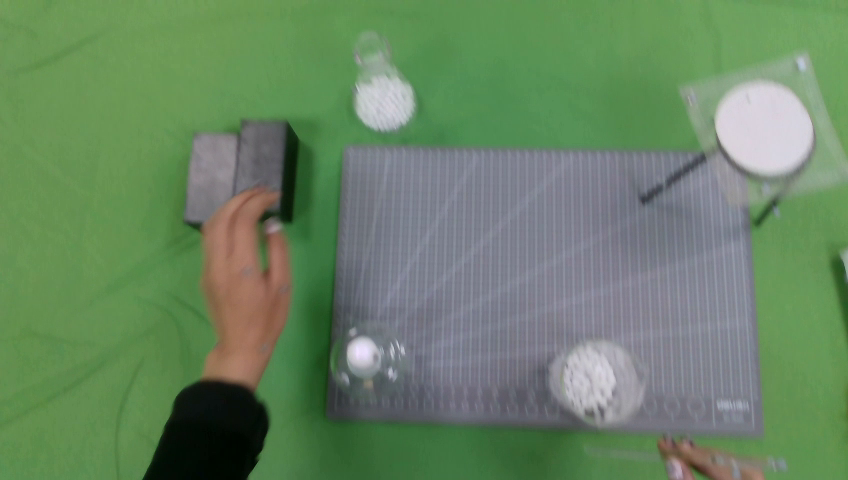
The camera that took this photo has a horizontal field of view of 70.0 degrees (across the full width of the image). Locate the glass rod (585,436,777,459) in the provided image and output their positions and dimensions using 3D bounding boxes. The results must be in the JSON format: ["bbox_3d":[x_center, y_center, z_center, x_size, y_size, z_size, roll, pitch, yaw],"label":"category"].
[{"bbox_3d":[0.175,0.153,0.447,0.008,0.200,0.008,5,73,-17],"label":"glass rod"}]

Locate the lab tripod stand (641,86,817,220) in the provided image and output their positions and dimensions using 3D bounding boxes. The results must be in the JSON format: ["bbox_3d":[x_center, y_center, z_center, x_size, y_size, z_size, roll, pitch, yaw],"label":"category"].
[{"bbox_3d":[0.308,-0.082,0.610,0.148,0.132,0.148,0,79,1],"label":"lab tripod stand"}]

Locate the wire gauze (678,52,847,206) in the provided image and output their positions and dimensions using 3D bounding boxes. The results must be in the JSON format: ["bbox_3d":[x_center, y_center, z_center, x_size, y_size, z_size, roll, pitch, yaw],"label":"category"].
[{"bbox_3d":[0.307,-0.100,0.545,0.125,0.011,0.121,-14,80,-1],"label":"wire gauze"}]

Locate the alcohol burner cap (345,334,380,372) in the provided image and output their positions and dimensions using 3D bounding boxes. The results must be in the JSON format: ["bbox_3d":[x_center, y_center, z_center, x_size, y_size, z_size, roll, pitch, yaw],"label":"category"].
[{"bbox_3d":[-0.057,0.101,0.557,0.034,0.048,0.033,2,70,-4],"label":"alcohol burner cap"}]

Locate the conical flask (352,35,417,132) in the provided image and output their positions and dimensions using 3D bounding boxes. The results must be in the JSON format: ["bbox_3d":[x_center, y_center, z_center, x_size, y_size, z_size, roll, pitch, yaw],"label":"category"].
[{"bbox_3d":[-0.048,-0.171,0.648,0.075,0.122,0.075,0,78,2],"label":"conical flask"}]

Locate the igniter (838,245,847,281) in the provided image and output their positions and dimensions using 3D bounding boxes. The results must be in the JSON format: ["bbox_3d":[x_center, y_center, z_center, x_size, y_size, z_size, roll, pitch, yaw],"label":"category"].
[{"bbox_3d":[0.467,0.138,0.613,0.057,0.025,0.275,-3,78,-9],"label":"igniter"}]

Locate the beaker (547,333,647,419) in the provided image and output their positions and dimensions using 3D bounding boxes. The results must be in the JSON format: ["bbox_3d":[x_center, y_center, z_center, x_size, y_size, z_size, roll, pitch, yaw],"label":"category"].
[{"bbox_3d":[0.162,0.130,0.587,0.084,0.100,0.073,-17,78,-1],"label":"beaker"}]

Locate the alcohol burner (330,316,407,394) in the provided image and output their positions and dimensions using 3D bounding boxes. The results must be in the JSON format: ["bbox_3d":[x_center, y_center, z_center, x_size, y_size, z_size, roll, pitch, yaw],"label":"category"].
[{"bbox_3d":[-0.056,0.111,0.592,0.078,0.119,0.077,0,77,1],"label":"alcohol burner"}]
